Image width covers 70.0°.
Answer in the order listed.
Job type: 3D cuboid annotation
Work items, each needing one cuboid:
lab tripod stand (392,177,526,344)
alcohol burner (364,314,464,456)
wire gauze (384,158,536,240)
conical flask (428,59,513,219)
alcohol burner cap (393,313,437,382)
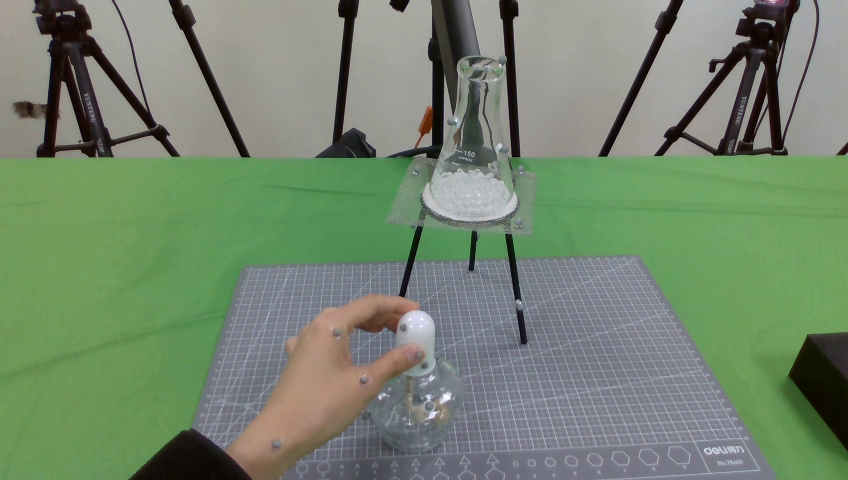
[{"bbox_3d":[0.043,0.019,0.576,0.148,0.132,0.147,3,33,-1],"label":"lab tripod stand"},{"bbox_3d":[-0.007,0.105,0.460,0.078,0.120,0.077,1,32,0],"label":"alcohol burner"},{"bbox_3d":[0.038,-0.037,0.540,0.121,0.011,0.124,7,36,8],"label":"wire gauze"},{"bbox_3d":[0.043,-0.084,0.503,0.075,0.123,0.074,2,34,-1],"label":"conical flask"},{"bbox_3d":[-0.006,0.076,0.440,0.034,0.048,0.033,2,31,-1],"label":"alcohol burner cap"}]
